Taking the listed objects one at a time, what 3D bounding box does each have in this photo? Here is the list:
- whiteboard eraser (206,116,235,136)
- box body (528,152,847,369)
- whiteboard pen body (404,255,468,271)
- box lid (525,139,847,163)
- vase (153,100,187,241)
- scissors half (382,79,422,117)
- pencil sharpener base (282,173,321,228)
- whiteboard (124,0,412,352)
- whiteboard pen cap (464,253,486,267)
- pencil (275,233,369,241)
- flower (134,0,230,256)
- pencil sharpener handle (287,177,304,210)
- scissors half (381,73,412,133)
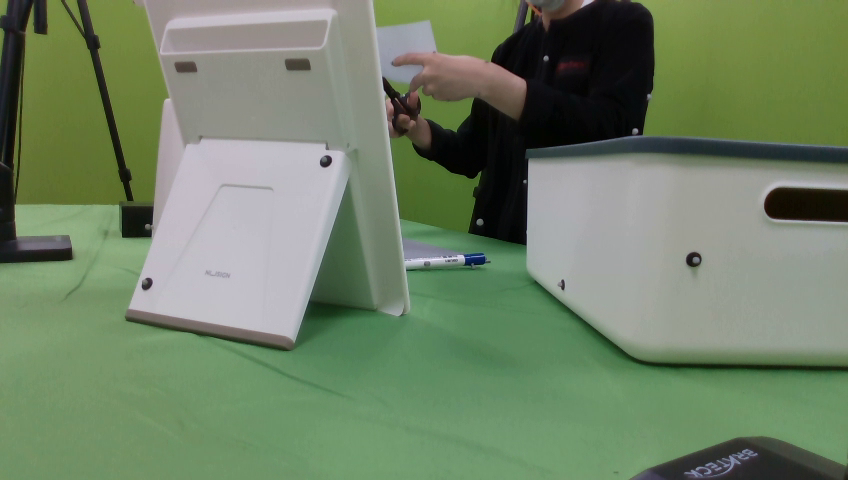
[{"bbox_3d":[-0.450,-0.252,1.335,0.056,0.042,0.112,1,7,-22],"label":"whiteboard eraser"},{"bbox_3d":[0.257,-0.005,0.591,0.254,0.160,0.363,2,7,-4],"label":"box body"},{"bbox_3d":[0.013,0.030,0.792,0.141,0.017,0.017,-3,9,-24],"label":"whiteboard pen body"},{"bbox_3d":[0.261,-0.078,0.580,0.264,0.015,0.371,2,7,-4],"label":"box lid"},{"bbox_3d":[-0.278,-0.066,0.736,0.098,0.200,0.098,2,9,0],"label":"vase"},{"bbox_3d":[-0.048,-0.266,1.082,0.013,0.040,0.176,23,2,29],"label":"scissors half"},{"bbox_3d":[-0.247,-0.080,1.212,0.061,0.107,0.076,-2,5,-28],"label":"pencil sharpener base"},{"bbox_3d":[-0.151,-0.049,0.472,0.216,0.305,0.144,6,27,24],"label":"whiteboard"},{"bbox_3d":[0.066,0.027,0.818,0.033,0.018,0.018,-5,10,-24],"label":"whiteboard pen cap"},{"bbox_3d":[-0.169,-0.006,1.036,0.195,0.012,0.012,-2,9,-45],"label":"pencil"},{"bbox_3d":[-0.282,-0.147,0.713,0.038,0.362,0.044,-23,24,-31],"label":"flower"},{"bbox_3d":[-0.269,-0.096,1.257,0.036,0.067,0.030,-8,8,-27],"label":"pencil sharpener handle"},{"bbox_3d":[-0.059,-0.248,1.079,0.012,0.040,0.176,28,-17,30],"label":"scissors half"}]
